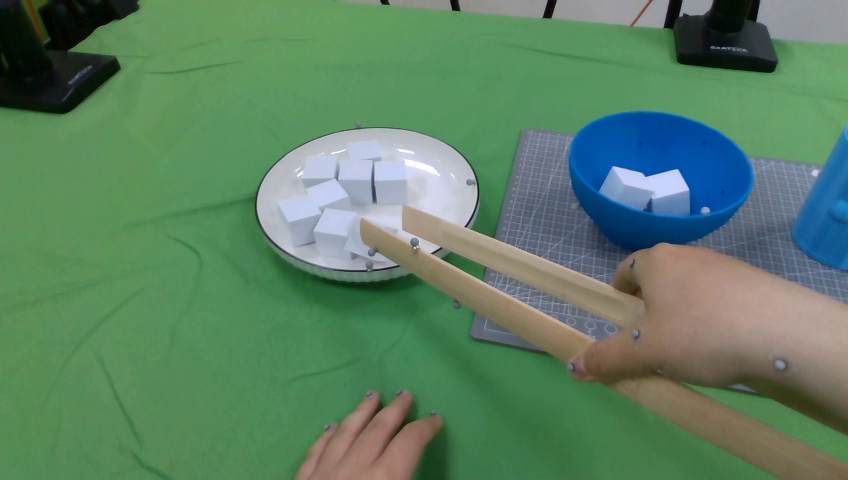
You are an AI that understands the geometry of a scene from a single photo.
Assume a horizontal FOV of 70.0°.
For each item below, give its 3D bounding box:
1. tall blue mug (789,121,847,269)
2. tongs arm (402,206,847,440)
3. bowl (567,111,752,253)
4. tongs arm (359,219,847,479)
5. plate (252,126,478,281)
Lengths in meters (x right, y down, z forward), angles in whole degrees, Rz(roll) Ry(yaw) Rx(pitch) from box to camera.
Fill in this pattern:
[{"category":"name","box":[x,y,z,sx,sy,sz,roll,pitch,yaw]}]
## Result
[{"category":"tall blue mug","box":[0.384,-0.034,0.505,0.106,0.109,0.077,18,47,19]},{"category":"tongs arm","box":[0.107,0.043,0.394,0.028,0.028,0.383,-15,29,-39]},{"category":"bowl","box":[0.199,-0.042,0.540,0.151,0.077,0.150,-1,45,1]},{"category":"tongs arm","box":[0.085,0.051,0.376,0.051,0.027,0.381,-17,30,-35]},{"category":"plate","box":[-0.053,-0.035,0.571,0.209,0.038,0.207,0,44,0]}]
